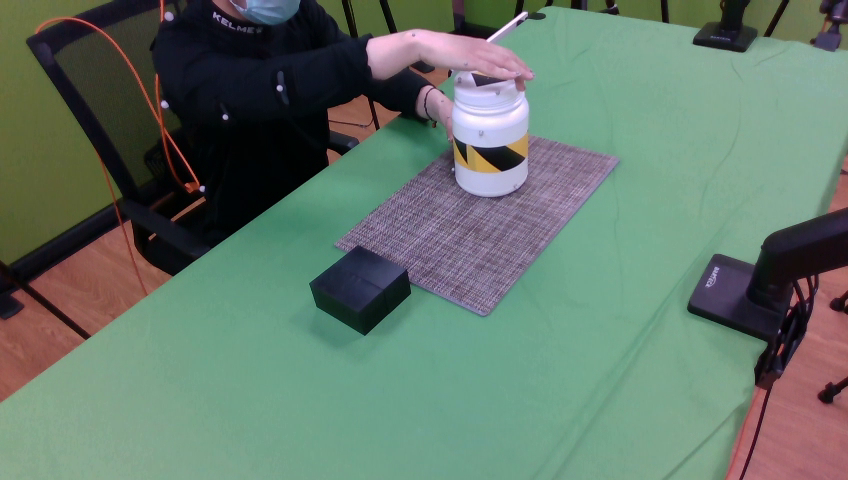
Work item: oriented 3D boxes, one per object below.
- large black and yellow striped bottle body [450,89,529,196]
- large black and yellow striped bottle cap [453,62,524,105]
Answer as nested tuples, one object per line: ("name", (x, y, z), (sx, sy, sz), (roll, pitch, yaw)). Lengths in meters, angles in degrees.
("large black and yellow striped bottle body", (0.113, -0.182, 1.034), (0.131, 0.185, 0.130), (-4, 41, 4))
("large black and yellow striped bottle cap", (0.103, -0.253, 0.972), (0.115, 0.019, 0.114), (-6, 41, 6))
